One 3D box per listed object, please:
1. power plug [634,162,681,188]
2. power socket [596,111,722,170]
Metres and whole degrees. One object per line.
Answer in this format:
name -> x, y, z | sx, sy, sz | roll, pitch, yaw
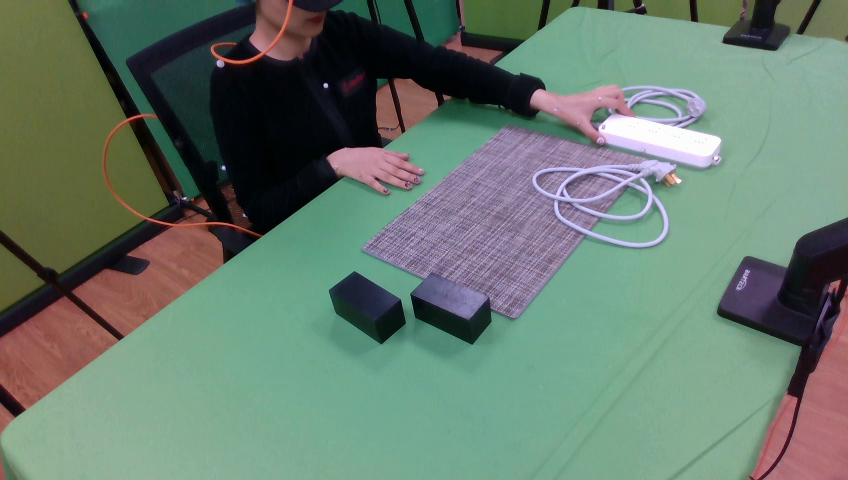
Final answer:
power plug -> 0.396, -0.102, 1.026 | 0.072, 0.035, 0.052 | -35, 69, -5
power socket -> 0.429, -0.185, 1.108 | 0.225, 0.033, 0.072 | 24, 56, 33
